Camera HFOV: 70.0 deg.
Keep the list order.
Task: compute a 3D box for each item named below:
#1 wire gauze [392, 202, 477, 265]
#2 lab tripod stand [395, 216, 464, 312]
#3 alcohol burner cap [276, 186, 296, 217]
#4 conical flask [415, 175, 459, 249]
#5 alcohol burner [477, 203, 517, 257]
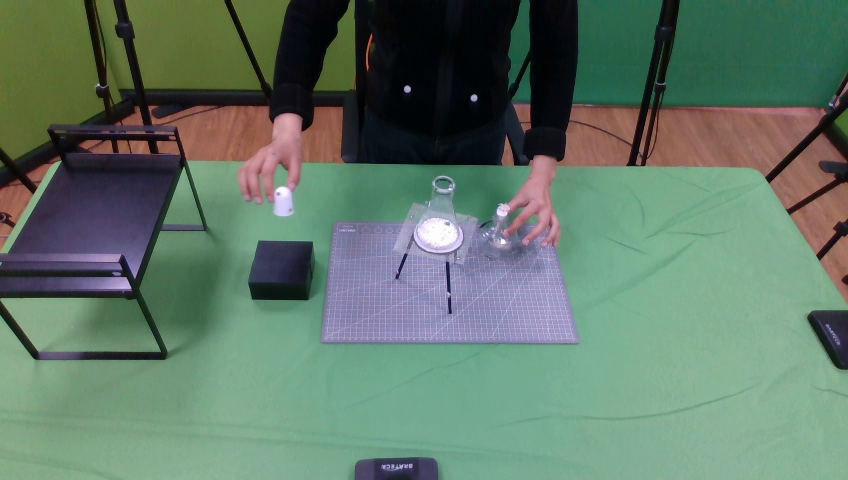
[{"bbox_3d":[0.021,-0.011,1.037,0.121,0.011,0.124,13,49,8],"label":"wire gauze"},{"bbox_3d":[0.023,0.036,1.084,0.148,0.132,0.147,4,46,-4],"label":"lab tripod stand"},{"bbox_3d":[-0.226,-0.065,0.990,0.034,0.048,0.033,3,34,-2],"label":"alcohol burner cap"},{"bbox_3d":[0.026,-0.049,0.993,0.075,0.122,0.075,3,47,-3],"label":"conical flask"},{"bbox_3d":[0.142,-0.024,1.165,0.078,0.120,0.077,1,44,-1],"label":"alcohol burner"}]
